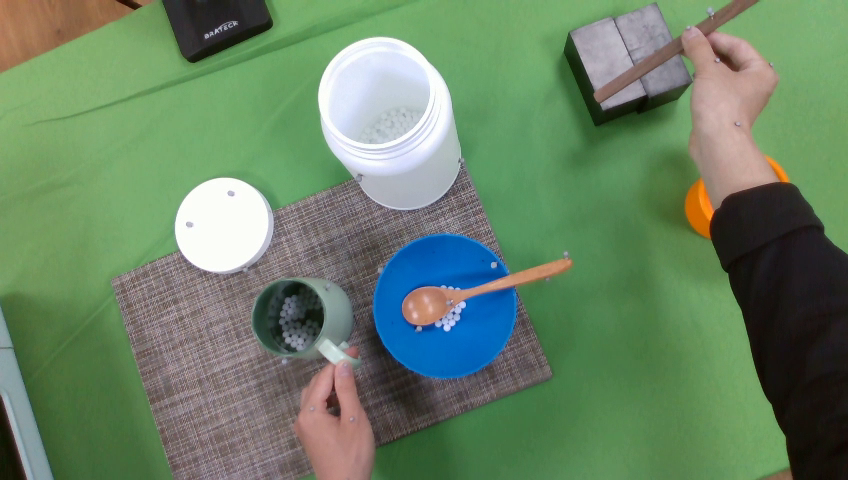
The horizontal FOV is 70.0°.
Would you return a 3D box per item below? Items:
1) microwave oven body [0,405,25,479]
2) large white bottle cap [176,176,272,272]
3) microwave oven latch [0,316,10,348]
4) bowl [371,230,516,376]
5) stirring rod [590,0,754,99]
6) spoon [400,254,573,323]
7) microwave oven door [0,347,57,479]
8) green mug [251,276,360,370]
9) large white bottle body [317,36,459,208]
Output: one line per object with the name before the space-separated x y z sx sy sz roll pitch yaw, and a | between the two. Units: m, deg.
microwave oven body | -0.596 0.299 0.598 0.326 0.261 0.440 -24 82 1
large white bottle cap | -0.240 -0.019 0.725 0.115 0.018 0.114 -1 82 5
microwave oven latch | -0.520 0.093 0.713 0.030 0.029 0.079 -24 82 2
bowl | 0.023 0.069 0.659 0.151 0.077 0.151 -1 83 6
stirring rod | 0.241 -0.191 0.590 0.176 0.006 0.014 -31 79 30
spoon | 0.061 0.049 0.629 0.193 0.022 0.041 -19 83 27
microwave oven door | -0.446 0.277 0.581 0.039 0.244 0.354 -24 81 2
green mug | -0.119 0.094 0.656 0.125 0.105 0.092 41 87 9
large white bottle body | -0.034 -0.117 0.633 0.130 0.185 0.130 -1 79 7
